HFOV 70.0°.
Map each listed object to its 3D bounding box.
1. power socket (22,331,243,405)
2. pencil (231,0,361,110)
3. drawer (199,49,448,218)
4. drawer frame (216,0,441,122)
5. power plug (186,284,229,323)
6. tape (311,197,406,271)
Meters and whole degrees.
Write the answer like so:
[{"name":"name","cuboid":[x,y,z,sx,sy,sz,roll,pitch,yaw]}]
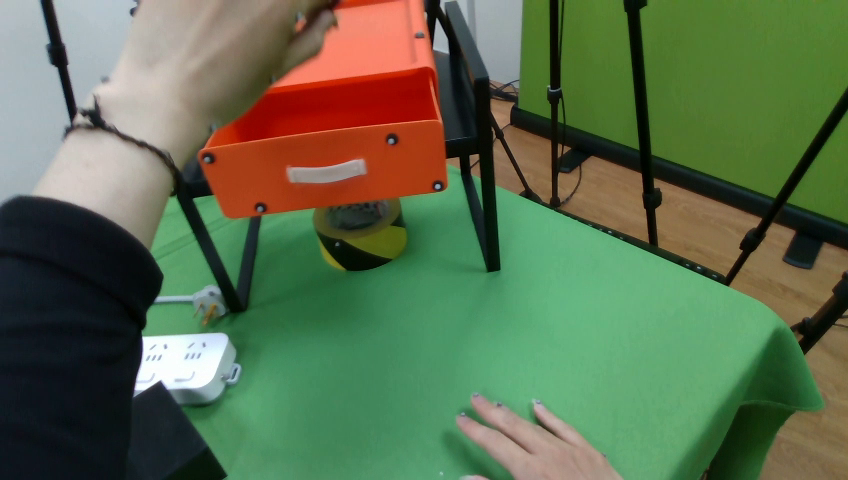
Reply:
[{"name":"power socket","cuboid":[-0.302,0.133,0.629,0.226,0.033,0.071,-4,40,7]},{"name":"pencil","cuboid":[-0.078,-0.137,0.410,0.194,0.012,0.012,-25,27,38]},{"name":"drawer","cuboid":[-0.085,-0.118,0.571,0.194,0.074,0.209,-8,39,2]},{"name":"drawer frame","cuboid":[-0.093,-0.179,0.640,0.202,0.083,0.211,-9,40,1]},{"name":"power plug","cuboid":[-0.253,0.080,0.697,0.072,0.035,0.052,-33,24,32]},{"name":"tape","cuboid":[-0.079,-0.019,0.752,0.117,0.053,0.115,-5,41,5]}]
